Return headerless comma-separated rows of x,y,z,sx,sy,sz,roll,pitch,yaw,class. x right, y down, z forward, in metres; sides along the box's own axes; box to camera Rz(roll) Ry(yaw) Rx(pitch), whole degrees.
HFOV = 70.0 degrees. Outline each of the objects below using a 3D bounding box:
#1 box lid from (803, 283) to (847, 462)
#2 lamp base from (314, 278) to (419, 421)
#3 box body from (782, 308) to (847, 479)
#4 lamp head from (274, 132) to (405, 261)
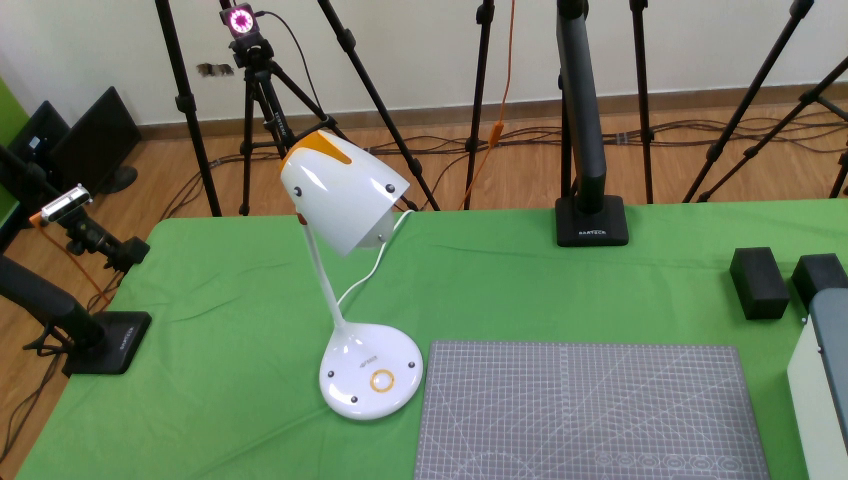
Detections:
0.563,0.191,0.611,0.262,0.015,0.368,2,48,13,box lid
-0.106,0.144,0.877,0.160,0.182,0.177,-39,50,-24,lamp base
0.573,0.243,0.663,0.253,0.162,0.361,2,48,13,box body
-0.100,-0.053,0.650,0.123,0.112,0.112,38,58,-2,lamp head
